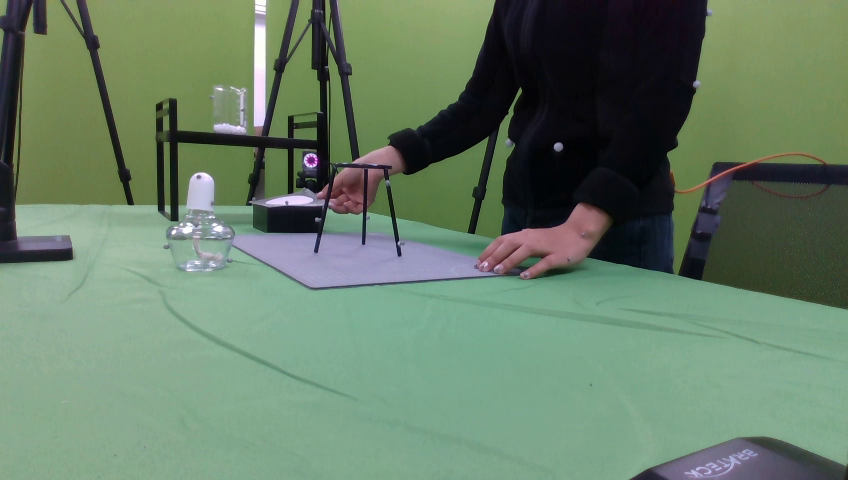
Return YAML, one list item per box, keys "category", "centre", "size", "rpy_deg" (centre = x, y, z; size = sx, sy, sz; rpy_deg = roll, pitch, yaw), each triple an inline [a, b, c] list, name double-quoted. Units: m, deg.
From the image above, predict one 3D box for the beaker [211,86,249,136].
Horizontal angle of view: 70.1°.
- category: "beaker"
  centre: [-0.413, -0.274, 1.297]
  size: [0.074, 0.100, 0.083]
  rpy_deg: [-5, 11, -44]

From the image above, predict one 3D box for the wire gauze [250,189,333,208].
- category: "wire gauze"
  centre: [-0.252, -0.076, 1.140]
  size: [0.126, 0.011, 0.121]
  rpy_deg: [-12, 18, -30]

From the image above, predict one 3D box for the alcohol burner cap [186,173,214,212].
- category: "alcohol burner cap"
  centre: [-0.268, -0.057, 0.730]
  size: [0.034, 0.048, 0.034]
  rpy_deg: [5, 2, 0]

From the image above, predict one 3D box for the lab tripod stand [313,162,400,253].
- category: "lab tripod stand"
  centre: [-0.097, -0.051, 0.906]
  size: [0.148, 0.131, 0.148]
  rpy_deg: [1, 6, 0]

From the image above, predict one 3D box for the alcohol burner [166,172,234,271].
- category: "alcohol burner"
  centre: [-0.271, -0.022, 0.735]
  size: [0.078, 0.119, 0.078]
  rpy_deg: [2, 5, 0]
